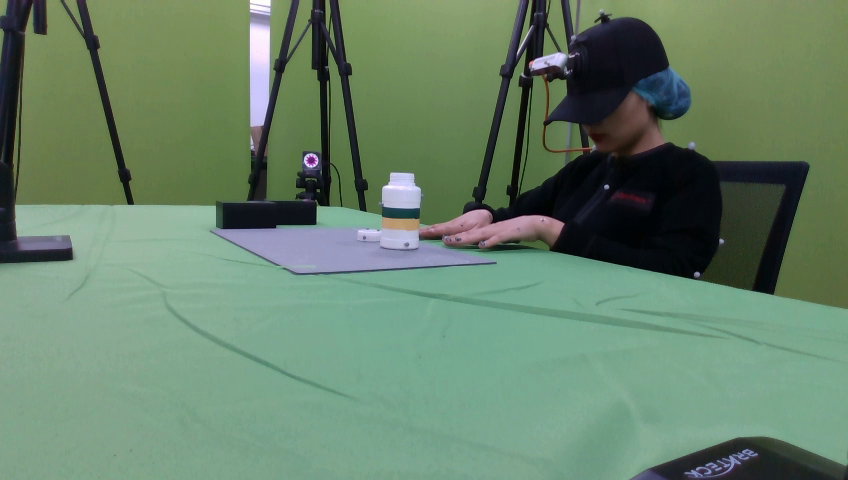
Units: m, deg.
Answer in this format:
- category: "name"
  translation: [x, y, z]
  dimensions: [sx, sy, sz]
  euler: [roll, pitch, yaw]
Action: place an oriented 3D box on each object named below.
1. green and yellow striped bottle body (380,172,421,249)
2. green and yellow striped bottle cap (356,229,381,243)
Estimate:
- category: "green and yellow striped bottle body"
  translation: [-0.037, -0.048, 0.959]
  dimensions: [0.063, 0.119, 0.063]
  euler: [3, 7, 0]
- category: "green and yellow striped bottle cap"
  translation: [-0.094, -0.008, 1.040]
  dimensions: [0.045, 0.020, 0.045]
  euler: [3, 6, 0]
